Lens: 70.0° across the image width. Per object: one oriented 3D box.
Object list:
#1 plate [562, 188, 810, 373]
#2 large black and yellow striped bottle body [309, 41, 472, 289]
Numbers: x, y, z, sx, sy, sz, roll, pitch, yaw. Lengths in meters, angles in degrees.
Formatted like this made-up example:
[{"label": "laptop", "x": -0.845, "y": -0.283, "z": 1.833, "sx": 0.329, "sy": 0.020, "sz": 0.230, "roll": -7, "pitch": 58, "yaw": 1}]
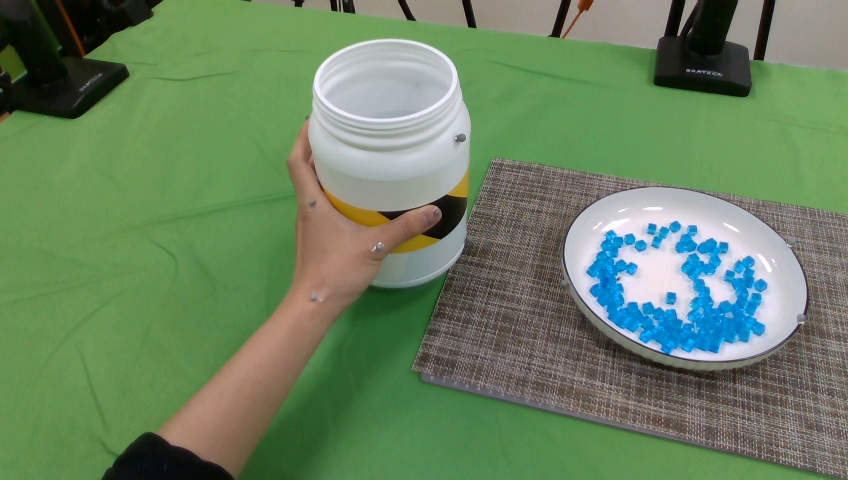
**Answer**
[{"label": "plate", "x": 0.228, "y": 0.034, "z": 0.546, "sx": 0.207, "sy": 0.039, "sz": 0.205, "roll": -1, "pitch": 46, "yaw": 1}, {"label": "large black and yellow striped bottle body", "x": -0.026, "y": -0.060, "z": 0.520, "sx": 0.131, "sy": 0.185, "sz": 0.129, "roll": -1, "pitch": 49, "yaw": 1}]
